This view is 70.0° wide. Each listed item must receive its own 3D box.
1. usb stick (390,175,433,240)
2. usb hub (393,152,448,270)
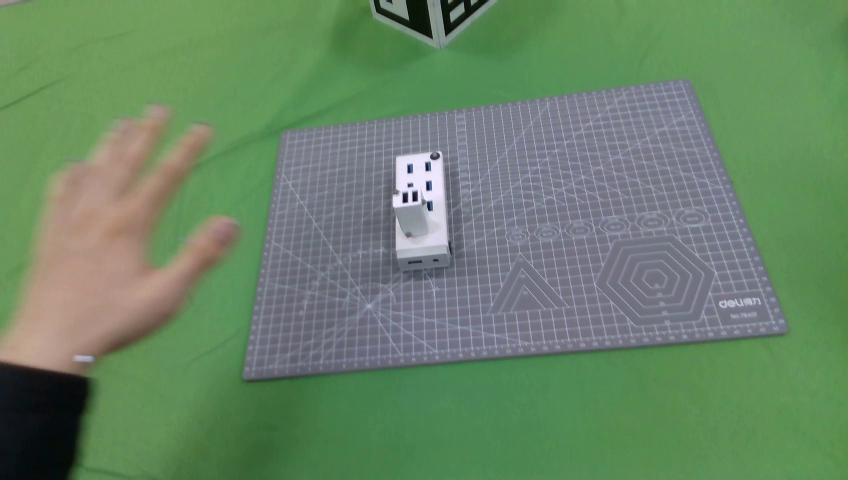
[{"bbox_3d":[-0.012,-0.030,0.531,0.027,0.060,0.021,-28,46,-13],"label":"usb stick"},{"bbox_3d":[-0.003,-0.030,0.583,0.049,0.025,0.124,-5,55,5],"label":"usb hub"}]
